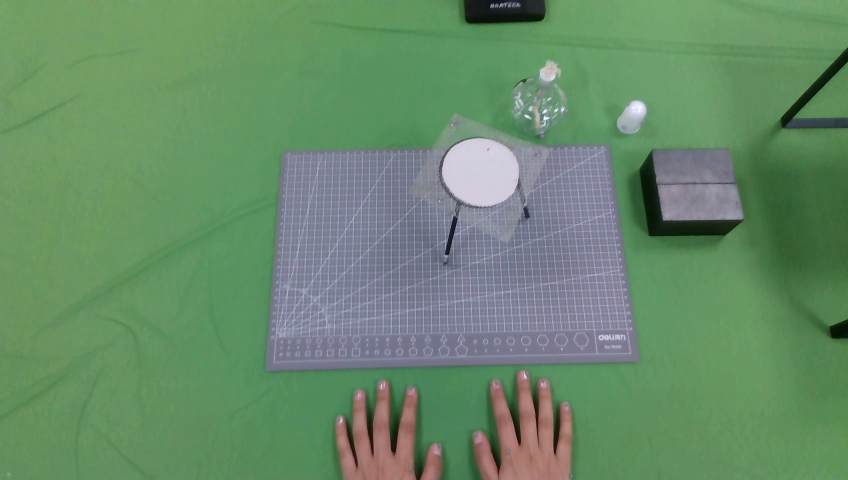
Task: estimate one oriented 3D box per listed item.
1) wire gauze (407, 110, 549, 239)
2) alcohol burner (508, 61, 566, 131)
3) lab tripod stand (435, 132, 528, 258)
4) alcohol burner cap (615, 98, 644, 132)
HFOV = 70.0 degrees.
[{"bbox_3d":[0.061,-0.078,0.669,0.125,0.011,0.121,26,71,9],"label":"wire gauze"},{"bbox_3d":[0.152,-0.196,0.799,0.078,0.120,0.077,0,69,-1],"label":"alcohol burner"},{"bbox_3d":[0.063,-0.060,0.734,0.148,0.132,0.147,0,68,-1],"label":"lab tripod stand"},{"bbox_3d":[0.283,-0.174,0.830,0.034,0.048,0.033,0,68,1],"label":"alcohol burner cap"}]
